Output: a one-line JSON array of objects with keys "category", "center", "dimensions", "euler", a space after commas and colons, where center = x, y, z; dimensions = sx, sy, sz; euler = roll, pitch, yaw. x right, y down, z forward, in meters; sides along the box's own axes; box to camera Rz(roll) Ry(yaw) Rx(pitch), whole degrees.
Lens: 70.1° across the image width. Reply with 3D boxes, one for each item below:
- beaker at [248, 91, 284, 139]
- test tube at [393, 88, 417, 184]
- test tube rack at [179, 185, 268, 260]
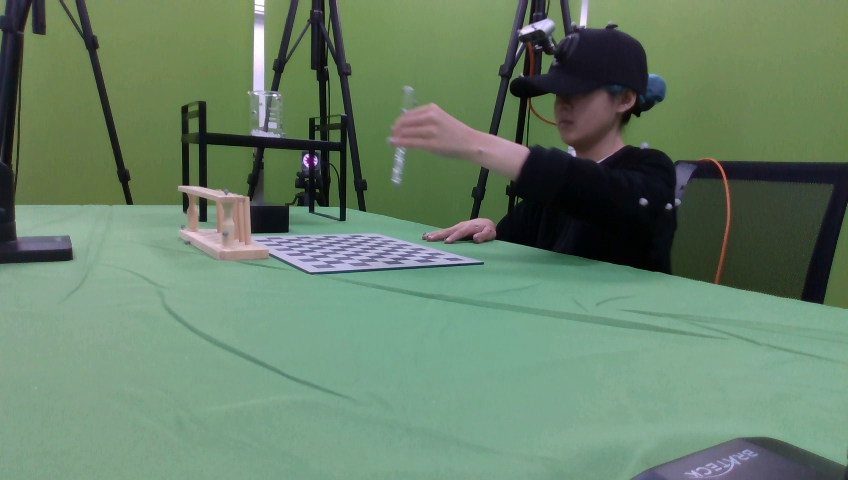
[{"category": "beaker", "center": [-0.353, -0.277, 1.343], "dimensions": [0.073, 0.100, 0.084], "euler": [8, 9, 39]}, {"category": "test tube", "center": [-0.030, -0.162, 0.946], "dimensions": [0.017, 0.150, 0.017], "euler": [10, 7, -1]}, {"category": "test tube rack", "center": [-0.303, -0.031, 0.898], "dimensions": [0.067, 0.085, 0.241], "euler": [-2, 9, -33]}]
